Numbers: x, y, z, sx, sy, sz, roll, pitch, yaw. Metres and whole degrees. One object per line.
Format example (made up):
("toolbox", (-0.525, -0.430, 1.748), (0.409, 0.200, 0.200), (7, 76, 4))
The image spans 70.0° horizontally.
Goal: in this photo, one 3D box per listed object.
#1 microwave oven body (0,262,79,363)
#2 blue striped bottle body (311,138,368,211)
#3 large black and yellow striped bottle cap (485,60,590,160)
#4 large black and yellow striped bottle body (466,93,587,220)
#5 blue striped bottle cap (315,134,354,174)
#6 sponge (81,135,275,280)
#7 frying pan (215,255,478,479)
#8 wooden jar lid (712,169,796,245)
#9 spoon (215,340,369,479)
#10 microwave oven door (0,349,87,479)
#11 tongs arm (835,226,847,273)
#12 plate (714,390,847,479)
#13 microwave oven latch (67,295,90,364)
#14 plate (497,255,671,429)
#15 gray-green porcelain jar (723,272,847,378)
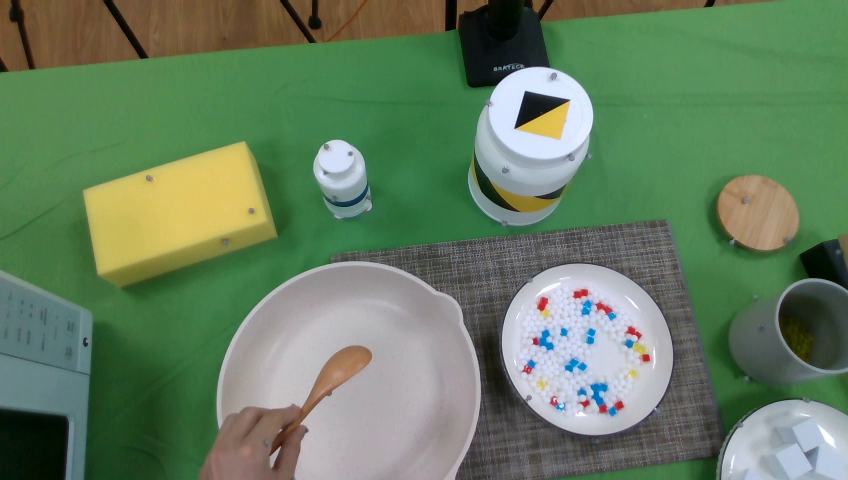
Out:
("microwave oven body", (-0.540, 0.257, 0.561), (0.326, 0.261, 0.439), (-6, 73, -4))
("blue striped bottle body", (-0.105, -0.086, 0.759), (0.063, 0.121, 0.062), (0, 72, -1))
("large black and yellow striped bottle cap", (0.124, -0.143, 0.662), (0.115, 0.019, 0.114), (1, 74, -1))
("large black and yellow striped bottle body", (0.122, -0.115, 0.741), (0.131, 0.185, 0.130), (0, 71, -1))
("blue striped bottle cap", (-0.105, -0.102, 0.710), (0.044, 0.021, 0.044), (0, 69, 1))
("sponge", (-0.309, -0.041, 0.771), (0.207, 0.061, 0.117), (-19, 74, -8))
("frying pan", (-0.023, 0.236, 0.658), (0.307, 0.103, 0.483), (-37, 67, -9))
("wooden jar lid", (0.439, -0.043, 0.811), (0.108, 0.021, 0.108), (0, 74, -1))
("spoon", (-0.126, 0.165, 0.572), (0.193, 0.022, 0.041), (-47, 42, -13))
("microwave oven door", (-0.391, 0.281, 0.551), (0.039, 0.245, 0.353), (-6, 72, -3))
("tongs arm", (0.563, 0.166, 0.709), (0.051, 0.026, 0.383), (-11, 83, -6))
("plate", (0.435, 0.279, 0.699), (0.208, 0.039, 0.206), (0, 72, -1))
("microwave oven latch", (-0.413, 0.106, 0.714), (0.030, 0.029, 0.078), (-5, 73, -3))
("plate", (0.191, 0.122, 0.739), (0.209, 0.038, 0.208), (0, 72, -1))
("gray-green porcelain jar", (0.423, 0.104, 0.708), (0.106, 0.127, 0.105), (0, 72, -1))
